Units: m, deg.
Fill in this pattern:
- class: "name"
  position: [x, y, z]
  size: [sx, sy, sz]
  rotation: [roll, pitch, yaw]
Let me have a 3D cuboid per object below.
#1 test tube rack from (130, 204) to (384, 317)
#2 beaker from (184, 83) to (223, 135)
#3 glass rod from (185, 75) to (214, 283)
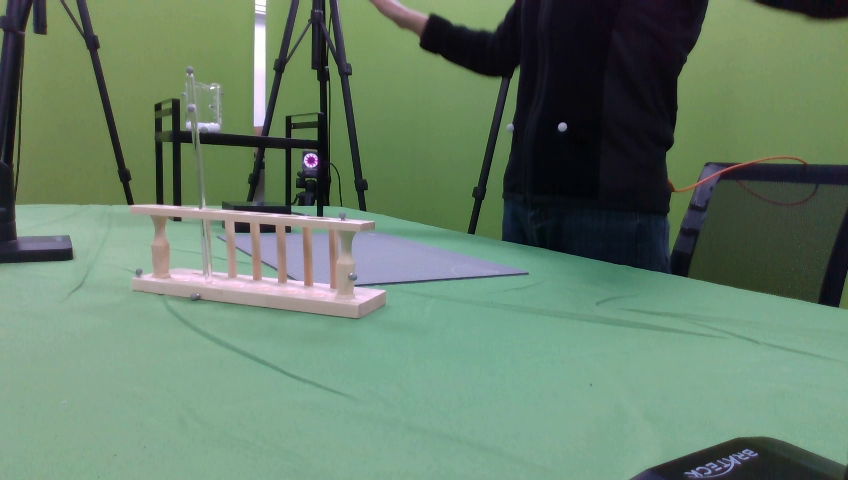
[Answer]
- class: "test tube rack"
  position: [-0.162, 0.013, 0.589]
  size: [0.242, 0.085, 0.067]
  rotation: [5, 8, 17]
- class: "beaker"
  position: [-0.456, -0.271, 1.256]
  size: [0.074, 0.100, 0.083]
  rotation: [-3, 9, -33]
- class: "glass rod"
  position: [-0.210, -0.052, 0.568]
  size: [0.008, 0.199, 0.008]
  rotation: [-1, 14, 1]
